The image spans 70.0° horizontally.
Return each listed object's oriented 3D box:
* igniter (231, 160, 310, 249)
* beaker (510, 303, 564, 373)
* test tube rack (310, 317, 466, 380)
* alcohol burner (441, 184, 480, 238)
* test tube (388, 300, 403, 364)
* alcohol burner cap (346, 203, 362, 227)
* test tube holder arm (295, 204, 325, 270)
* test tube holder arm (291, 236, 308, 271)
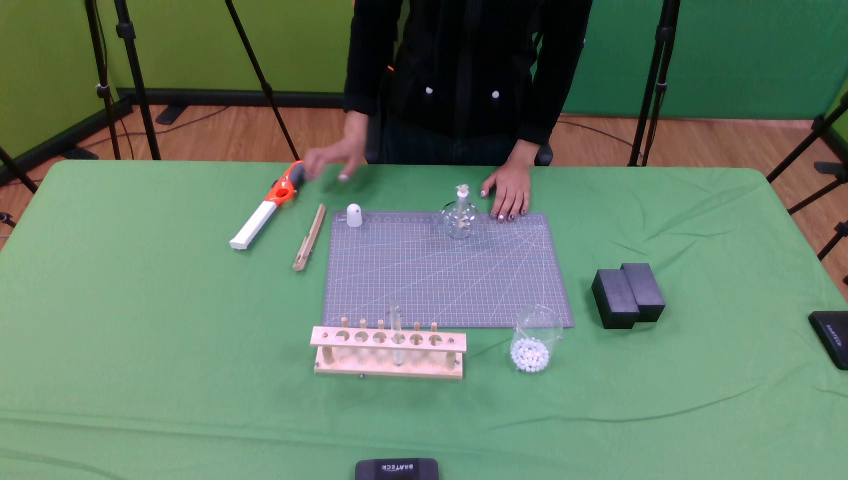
[{"bbox_3d":[-0.311,-0.081,1.250,0.057,0.025,0.275,9,45,18],"label":"igniter"},{"bbox_3d":[0.182,0.164,1.000,0.074,0.101,0.083,2,46,-1],"label":"beaker"},{"bbox_3d":[-0.056,0.171,0.986,0.242,0.085,0.066,3,45,-1],"label":"test tube rack"},{"bbox_3d":[0.073,-0.061,1.195,0.078,0.120,0.077,1,47,-1],"label":"alcohol burner"},{"bbox_3d":[-0.044,0.146,0.942,0.017,0.151,0.017,-1,44,1],"label":"test tube"},{"bbox_3d":[-0.141,-0.053,1.222,0.034,0.048,0.033,2,47,-2],"label":"alcohol burner cap"},{"bbox_3d":[-0.222,-0.009,1.192,0.013,0.015,0.177,-18,37,27],"label":"test tube holder arm"},{"bbox_3d":[-0.234,0.024,1.163,0.010,0.015,0.087,-17,38,29],"label":"test tube holder arm"}]
